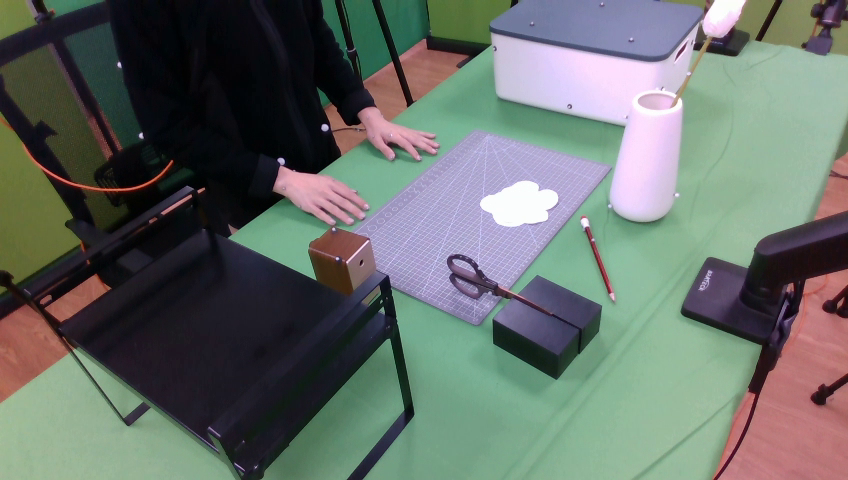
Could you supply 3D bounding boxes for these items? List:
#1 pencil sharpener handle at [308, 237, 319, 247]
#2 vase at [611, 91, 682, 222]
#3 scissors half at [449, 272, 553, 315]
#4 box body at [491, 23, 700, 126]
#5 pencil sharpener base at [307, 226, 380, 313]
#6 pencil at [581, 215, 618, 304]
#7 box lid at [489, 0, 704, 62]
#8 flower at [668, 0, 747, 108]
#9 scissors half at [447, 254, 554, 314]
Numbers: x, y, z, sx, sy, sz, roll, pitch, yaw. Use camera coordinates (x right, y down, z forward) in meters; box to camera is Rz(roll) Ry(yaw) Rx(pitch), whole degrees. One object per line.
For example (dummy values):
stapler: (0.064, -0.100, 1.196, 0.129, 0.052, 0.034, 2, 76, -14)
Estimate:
pencil sharpener handle: (-0.158, 0.017, 0.892, 0.030, 0.068, 0.036, 18, 61, 28)
vase: (0.348, -0.125, 0.935, 0.098, 0.201, 0.097, -3, 40, 3)
scissors half: (0.104, 0.076, 0.834, 0.173, 0.040, 0.013, 15, 48, 42)
box body: (0.352, -0.384, 1.267, 0.361, 0.161, 0.255, 21, 48, 29)
pencil sharpener base: (-0.116, 0.043, 0.875, 0.076, 0.107, 0.061, 18, 47, 27)
pencil: (0.266, 0.026, 0.917, 0.012, 0.012, 0.193, -6, 42, 1)
box lid: (0.345, -0.440, 1.218, 0.369, 0.015, 0.264, 21, 48, 29)
flower: (0.355, -0.187, 0.880, 0.038, 0.362, 0.044, 30, 48, 14)
scissors half: (0.101, 0.060, 0.821, 0.174, 0.040, 0.013, 28, 51, 29)
